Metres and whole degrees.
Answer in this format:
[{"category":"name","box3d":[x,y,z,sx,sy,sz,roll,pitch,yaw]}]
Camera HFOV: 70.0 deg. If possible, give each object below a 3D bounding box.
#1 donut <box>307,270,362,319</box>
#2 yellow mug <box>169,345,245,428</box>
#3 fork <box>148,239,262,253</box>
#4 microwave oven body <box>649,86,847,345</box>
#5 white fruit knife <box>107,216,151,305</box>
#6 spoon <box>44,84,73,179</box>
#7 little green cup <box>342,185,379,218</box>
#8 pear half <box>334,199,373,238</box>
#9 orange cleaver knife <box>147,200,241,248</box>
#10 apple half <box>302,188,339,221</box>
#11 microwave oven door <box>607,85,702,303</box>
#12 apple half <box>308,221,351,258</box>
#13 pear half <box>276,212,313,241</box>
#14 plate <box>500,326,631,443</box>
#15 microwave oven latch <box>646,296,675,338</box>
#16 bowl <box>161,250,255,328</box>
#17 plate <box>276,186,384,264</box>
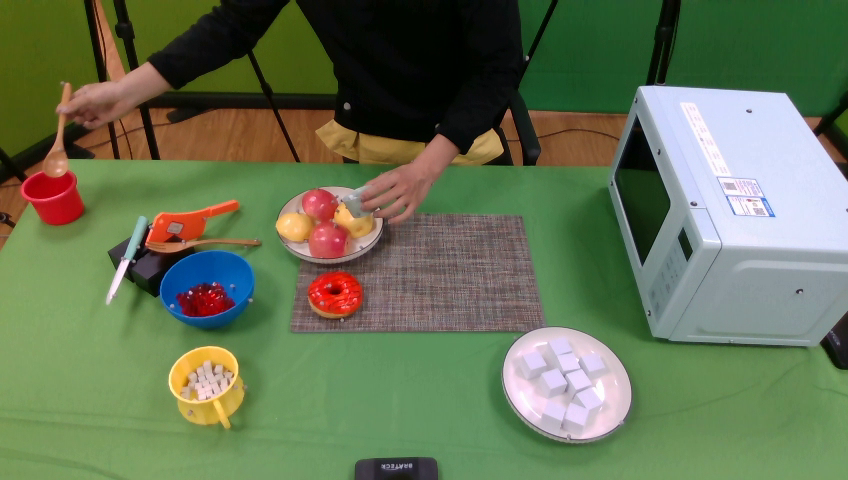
[{"category":"donut","box3d":[-0.157,0.097,1.073,0.099,0.048,0.098,4,46,-4]},{"category":"yellow mug","box3d":[-0.322,0.230,0.922,0.100,0.064,0.130,-24,53,-25]},{"category":"fork","box3d":[-0.398,0.008,1.117,0.208,0.019,0.028,-5,34,-37]},{"category":"microwave oven body","box3d":[0.568,-0.053,1.118,0.326,0.261,0.439,2,45,-1]},{"category":"white fruit knife","box3d":[-0.518,0.032,1.066,0.027,0.016,0.206,-18,45,19]},{"category":"spoon","box3d":[-0.689,-0.209,1.157,0.042,0.021,0.193,7,81,-20]},{"category":"little green cup","box3d":[-0.112,-0.068,1.085,0.061,0.039,0.061,-20,22,8]},{"category":"pear half","box3d":[-0.147,-0.060,1.210,0.076,0.056,0.109,-17,45,-25]},{"category":"orange cleaver knife","box3d":[-0.435,-0.033,1.157,0.012,0.077,0.211,31,26,19]},{"category":"apple half","box3d":[-0.205,-0.076,1.216,0.081,0.033,0.081,18,46,-19]},{"category":"microwave oven door","box3d":[0.423,-0.094,1.140,0.039,0.245,0.353,2,46,-1]},{"category":"apple half","box3d":[-0.180,-0.005,1.150,0.074,0.053,0.080,14,43,8]},{"category":"pear half","box3d":[-0.245,-0.035,1.178,0.070,0.031,0.088,40,41,1]},{"category":"plate","box3d":[0.224,0.234,0.978,0.208,0.039,0.206,2,46,-2]},{"category":"microwave oven latch","box3d":[0.412,0.134,1.061,0.030,0.029,0.078,4,45,1]},{"category":"bowl","box3d":[-0.362,0.097,1.040,0.151,0.077,0.150,2,45,-2]},{"category":"plate","box3d":[-0.184,-0.027,1.195,0.209,0.038,0.208,2,46,-2]}]
